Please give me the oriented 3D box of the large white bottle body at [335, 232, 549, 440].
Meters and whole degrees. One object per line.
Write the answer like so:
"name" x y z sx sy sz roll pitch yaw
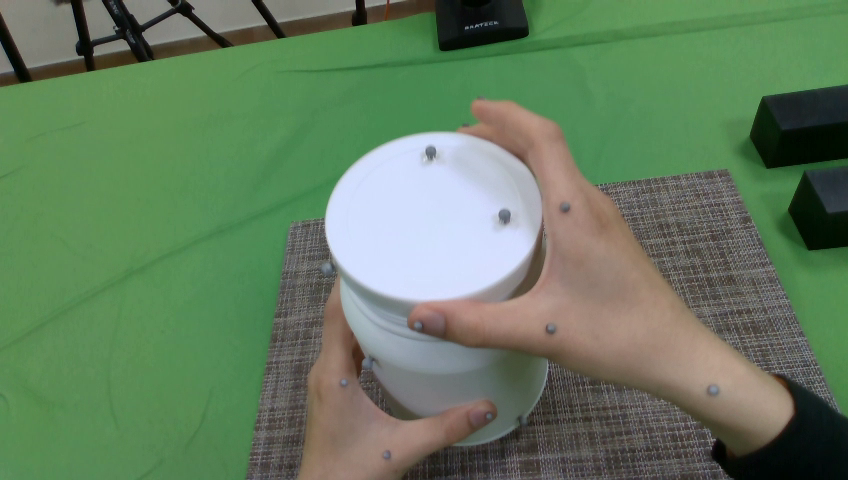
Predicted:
"large white bottle body" 0.016 0.044 0.404 0.130 0.186 0.129 -4 55 6

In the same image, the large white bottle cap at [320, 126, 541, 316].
"large white bottle cap" 0.003 -0.014 0.317 0.115 0.018 0.113 -3 55 4
